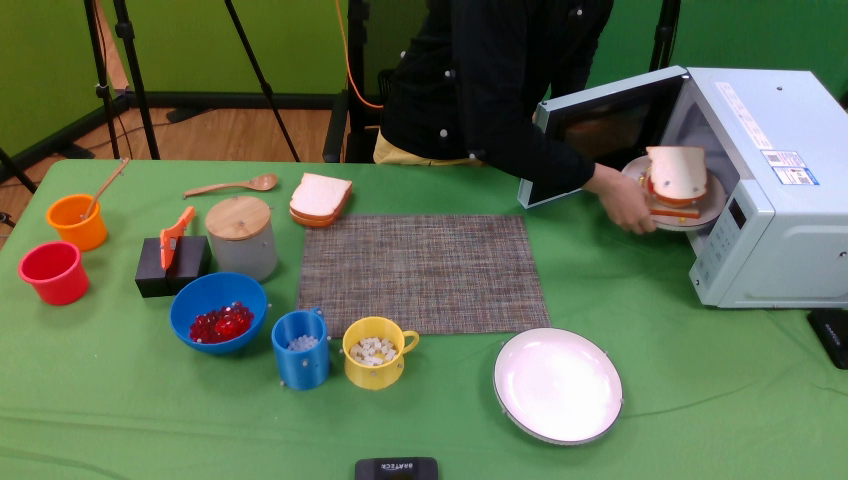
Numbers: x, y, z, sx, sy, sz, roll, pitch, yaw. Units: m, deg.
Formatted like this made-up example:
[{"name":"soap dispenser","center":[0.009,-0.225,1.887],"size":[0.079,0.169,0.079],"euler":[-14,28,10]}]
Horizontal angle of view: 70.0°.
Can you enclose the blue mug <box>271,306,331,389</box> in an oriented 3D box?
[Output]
[{"name":"blue mug","center":[-0.188,0.163,0.969],"size":[0.082,0.106,0.116],"euler":[15,47,10]}]

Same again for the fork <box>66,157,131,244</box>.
[{"name":"fork","center":[-0.608,-0.074,1.133],"size":[0.207,0.019,0.028],"euler":[-52,50,10]}]

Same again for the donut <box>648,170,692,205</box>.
[{"name":"donut","center":[0.493,-0.112,1.190],"size":[0.099,0.048,0.098],"euler":[-4,57,6]}]

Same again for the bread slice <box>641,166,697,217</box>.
[{"name":"bread slice","center":[0.493,-0.104,1.220],"size":[0.105,0.019,0.131],"euler":[9,51,12]}]

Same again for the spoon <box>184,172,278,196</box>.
[{"name":"spoon","center":[-0.405,-0.116,1.275],"size":[0.194,0.022,0.041],"euler":[-8,65,-12]}]

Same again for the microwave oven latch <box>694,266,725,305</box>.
[{"name":"microwave oven latch","center":[0.523,0.082,1.115],"size":[0.030,0.029,0.078],"euler":[3,46,0]}]

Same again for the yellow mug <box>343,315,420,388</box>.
[{"name":"yellow mug","center":[-0.067,0.177,0.990],"size":[0.131,0.064,0.099],"euler":[-16,50,-19]}]

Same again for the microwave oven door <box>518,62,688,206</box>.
[{"name":"microwave oven door","center":[0.368,-0.218,1.250],"size":[0.356,0.245,0.039],"euler":[-19,51,-21]}]

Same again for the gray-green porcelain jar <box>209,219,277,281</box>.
[{"name":"gray-green porcelain jar","center":[-0.323,0.007,1.092],"size":[0.106,0.127,0.105],"euler":[2,46,-2]}]

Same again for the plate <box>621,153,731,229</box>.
[{"name":"plate","center":[0.499,-0.096,1.215],"size":[0.209,0.038,0.208],"euler":[-1,49,1]}]

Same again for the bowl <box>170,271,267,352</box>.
[{"name":"bowl","center":[-0.333,0.132,1.006],"size":[0.151,0.077,0.150],"euler":[2,46,-2]}]

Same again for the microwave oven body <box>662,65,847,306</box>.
[{"name":"microwave oven body","center":[0.669,-0.111,1.176],"size":[0.326,0.261,0.439],"euler":[0,46,-3]}]

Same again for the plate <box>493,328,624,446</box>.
[{"name":"plate","center":[0.213,0.236,0.974],"size":[0.208,0.039,0.206],"euler":[2,46,-2]}]

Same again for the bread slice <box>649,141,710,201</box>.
[{"name":"bread slice","center":[0.497,-0.134,1.167],"size":[0.107,0.018,0.133],"euler":[-2,59,12]}]

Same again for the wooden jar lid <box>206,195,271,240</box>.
[{"name":"wooden jar lid","center":[-0.319,-0.036,1.046],"size":[0.108,0.021,0.107],"euler":[1,44,0]}]

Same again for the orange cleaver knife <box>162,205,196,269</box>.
[{"name":"orange cleaver knife","center":[-0.454,-0.010,1.129],"size":[0.012,0.077,0.210],"euler":[-2,20,-5]}]
